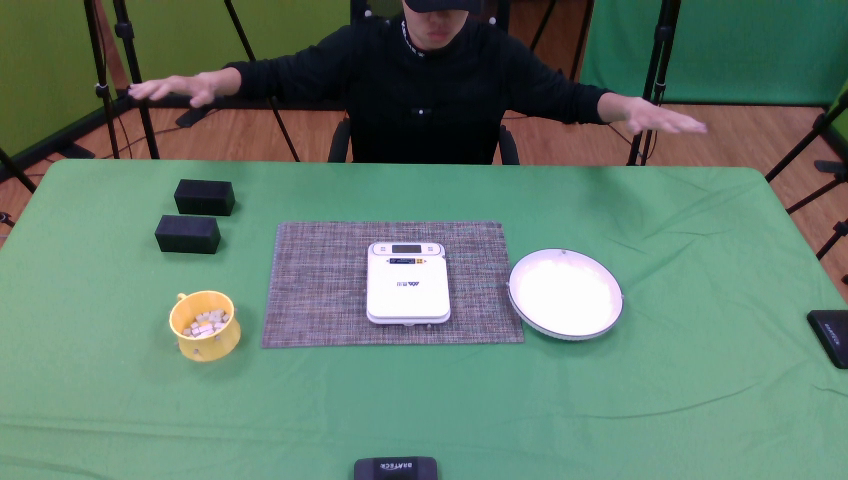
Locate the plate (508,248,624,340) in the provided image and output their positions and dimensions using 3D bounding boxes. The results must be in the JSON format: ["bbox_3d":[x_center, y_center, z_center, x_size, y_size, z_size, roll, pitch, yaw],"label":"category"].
[{"bbox_3d":[0.256,0.101,1.106,0.209,0.038,0.208,2,45,-2],"label":"plate"}]

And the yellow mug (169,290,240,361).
[{"bbox_3d":[-0.373,0.132,1.009,0.130,0.064,0.100,35,53,27],"label":"yellow mug"}]

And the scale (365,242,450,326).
[{"bbox_3d":[-0.032,0.071,1.113,0.149,0.032,0.199,1,46,-4],"label":"scale"}]
